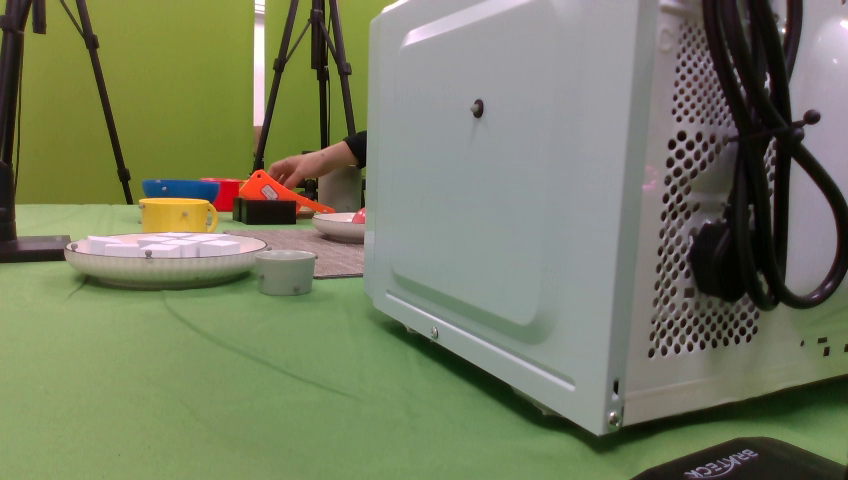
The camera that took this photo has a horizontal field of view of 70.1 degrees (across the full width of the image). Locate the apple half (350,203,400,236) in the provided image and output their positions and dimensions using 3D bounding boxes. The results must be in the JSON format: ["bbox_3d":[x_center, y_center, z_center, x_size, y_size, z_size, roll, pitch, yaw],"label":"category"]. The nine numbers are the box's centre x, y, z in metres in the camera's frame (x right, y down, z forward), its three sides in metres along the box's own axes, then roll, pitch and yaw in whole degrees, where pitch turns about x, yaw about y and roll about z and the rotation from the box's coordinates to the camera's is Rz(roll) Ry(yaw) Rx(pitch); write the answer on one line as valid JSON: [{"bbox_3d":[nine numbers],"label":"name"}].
[{"bbox_3d":[-0.081,-0.036,1.024,0.081,0.053,0.074,-2,11,-34],"label":"apple half"}]

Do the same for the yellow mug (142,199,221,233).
[{"bbox_3d":[-0.372,-0.030,0.948,0.099,0.064,0.131,6,7,30],"label":"yellow mug"}]

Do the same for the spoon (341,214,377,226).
[{"bbox_3d":[-0.132,-0.048,1.305,0.041,0.021,0.194,-15,3,14],"label":"spoon"}]

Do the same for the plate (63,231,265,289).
[{"bbox_3d":[-0.288,0.021,0.687,0.208,0.039,0.207,2,8,0],"label":"plate"}]

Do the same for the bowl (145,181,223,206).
[{"bbox_3d":[-0.499,-0.081,1.261,0.151,0.077,0.151,2,8,0],"label":"bowl"}]

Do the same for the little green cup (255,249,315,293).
[{"bbox_3d":[-0.144,0.032,0.627,0.061,0.038,0.061,2,5,0],"label":"little green cup"}]

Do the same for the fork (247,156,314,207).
[{"bbox_3d":[-0.360,-0.147,1.523,0.207,0.019,0.028,-43,17,-7],"label":"fork"}]

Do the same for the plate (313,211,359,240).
[{"bbox_3d":[-0.091,-0.026,1.063,0.209,0.038,0.209,2,7,0],"label":"plate"}]

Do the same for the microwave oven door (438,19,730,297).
[{"bbox_3d":[0.181,-0.076,0.618,0.358,0.243,0.039,-2,8,-28],"label":"microwave oven door"}]

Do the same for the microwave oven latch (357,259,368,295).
[{"bbox_3d":[-0.019,0.031,0.529,0.079,0.029,0.030,-1,7,-26],"label":"microwave oven latch"}]

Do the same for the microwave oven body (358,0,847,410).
[{"bbox_3d":[0.210,-0.051,0.471,0.444,0.260,0.324,-1,7,-28],"label":"microwave oven body"}]

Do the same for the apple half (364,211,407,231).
[{"bbox_3d":[-0.068,-0.037,1.103,0.081,0.033,0.081,-1,9,1],"label":"apple half"}]

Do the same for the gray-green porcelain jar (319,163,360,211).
[{"bbox_3d":[-0.205,-0.126,1.490,0.106,0.126,0.106,2,7,0],"label":"gray-green porcelain jar"}]

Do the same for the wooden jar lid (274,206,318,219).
[{"bbox_3d":[-0.302,-0.065,1.410,0.108,0.020,0.108,2,11,0],"label":"wooden jar lid"}]

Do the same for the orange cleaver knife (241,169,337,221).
[{"bbox_3d":[-0.286,-0.081,1.298,0.212,0.077,0.012,25,-6,-31],"label":"orange cleaver knife"}]
